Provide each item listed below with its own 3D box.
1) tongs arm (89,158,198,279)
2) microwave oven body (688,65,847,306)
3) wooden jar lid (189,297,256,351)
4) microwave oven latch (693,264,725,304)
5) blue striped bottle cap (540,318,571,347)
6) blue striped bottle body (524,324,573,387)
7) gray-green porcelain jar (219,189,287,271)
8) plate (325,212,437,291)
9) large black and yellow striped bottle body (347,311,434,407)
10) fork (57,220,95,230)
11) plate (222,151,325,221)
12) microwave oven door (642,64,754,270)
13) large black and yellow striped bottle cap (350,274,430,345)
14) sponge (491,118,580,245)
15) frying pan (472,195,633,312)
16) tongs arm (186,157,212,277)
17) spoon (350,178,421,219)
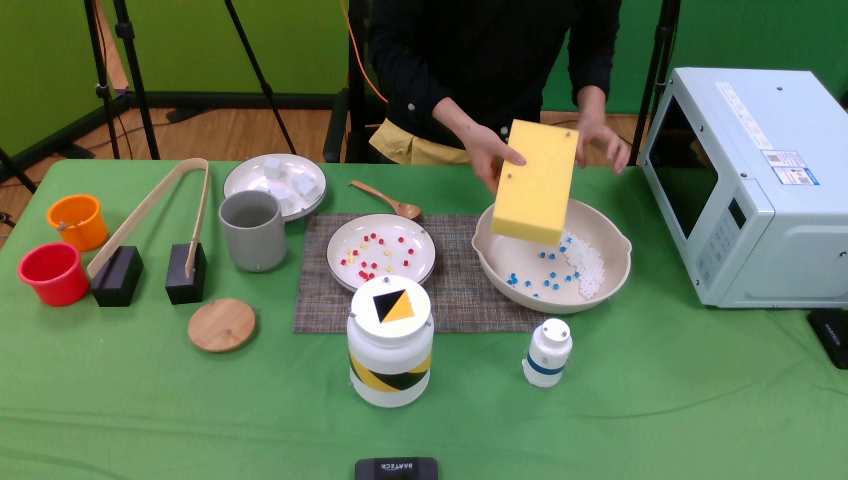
[{"bbox_3d":[-0.529,-0.057,1.164,0.028,0.028,0.385,1,36,8],"label":"tongs arm"},{"bbox_3d":[0.669,-0.111,1.176,0.326,0.261,0.439,0,46,-3],"label":"microwave oven body"},{"bbox_3d":[-0.342,0.145,1.033,0.108,0.021,0.107,2,45,-2],"label":"wooden jar lid"},{"bbox_3d":[0.522,0.082,1.116,0.030,0.029,0.078,2,46,-1],"label":"microwave oven latch"},{"bbox_3d":[0.203,0.142,0.933,0.044,0.021,0.044,3,49,-3],"label":"blue striped bottle cap"},{"bbox_3d":[0.200,0.178,0.970,0.063,0.121,0.062,2,46,-1],"label":"blue striped bottle body"},{"bbox_3d":[-0.310,-0.014,1.113,0.106,0.127,0.105,2,46,-2],"label":"gray-green porcelain jar"},{"bbox_3d":[-0.080,0.030,1.143,0.209,0.038,0.208,3,46,-3],"label":"plate"},{"bbox_3d":[-0.052,0.157,0.929,0.131,0.185,0.130,2,47,-2],"label":"large black and yellow striped bottle body"},{"bbox_3d":[-0.624,-0.027,1.087,0.028,0.207,0.018,-3,92,-17],"label":"fork"},{"bbox_3d":[-0.310,-0.106,1.263,0.208,0.039,0.206,2,47,-2],"label":"plate"},{"bbox_3d":[0.526,-0.148,1.193,0.039,0.245,0.353,-1,47,-2],"label":"microwave oven door"},{"bbox_3d":[-0.048,0.097,0.868,0.115,0.019,0.114,3,48,-3],"label":"large black and yellow striped bottle cap"},{"bbox_3d":[0.193,-0.103,1.040,0.118,0.061,0.206,11,63,8],"label":"sponge"},{"bbox_3d":[0.235,-0.061,1.208,0.307,0.103,0.484,2,54,-6],"label":"frying pan"},{"bbox_3d":[-0.445,-0.058,1.168,0.051,0.026,0.382,-5,37,-6],"label":"tongs arm"},{"bbox_3d":[-0.084,-0.093,1.272,0.193,0.022,0.041,31,69,25],"label":"spoon"}]
